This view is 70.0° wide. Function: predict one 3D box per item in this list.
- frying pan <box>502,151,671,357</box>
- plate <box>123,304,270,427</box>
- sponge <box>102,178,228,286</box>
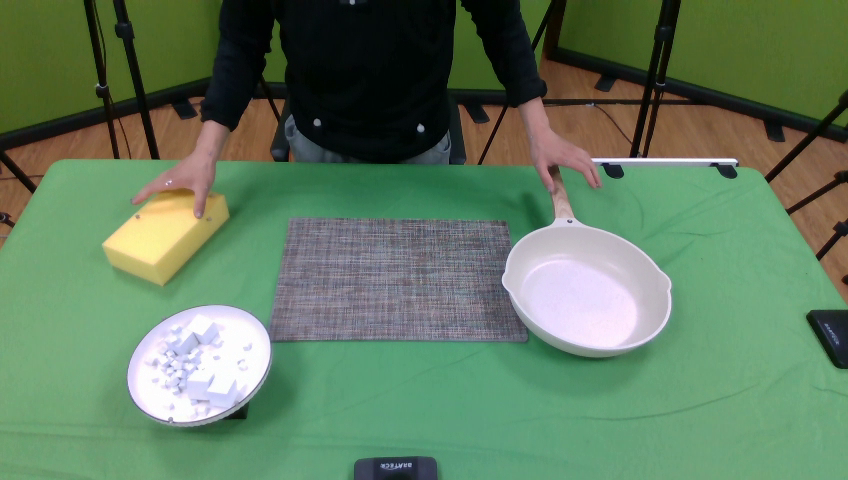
[{"bbox_3d":[0.281,0.008,1.154,0.307,0.103,0.484,1,54,-6],"label":"frying pan"},{"bbox_3d":[-0.337,0.189,0.913,0.208,0.039,0.206,1,46,-1],"label":"plate"},{"bbox_3d":[-0.485,-0.020,1.153,0.118,0.061,0.206,19,48,12],"label":"sponge"}]
